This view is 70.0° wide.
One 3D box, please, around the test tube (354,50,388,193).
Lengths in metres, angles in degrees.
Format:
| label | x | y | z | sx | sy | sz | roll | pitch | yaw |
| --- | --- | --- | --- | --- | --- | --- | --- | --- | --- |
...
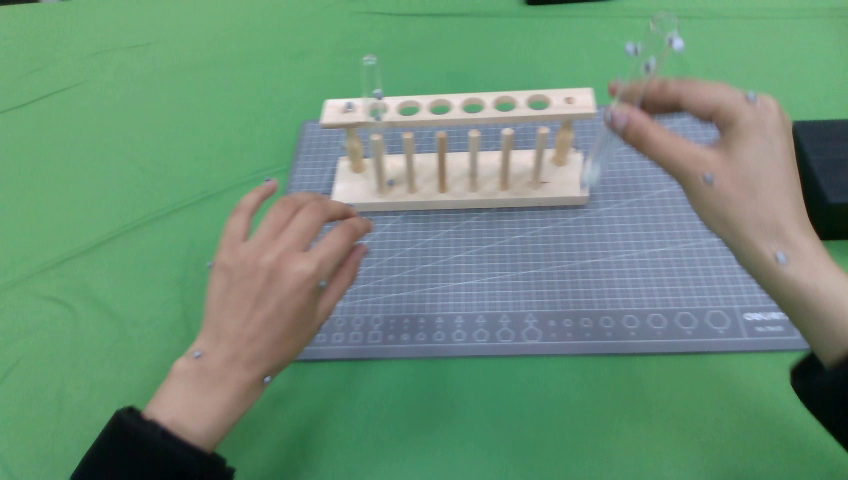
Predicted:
| label | x | y | z | sx | sy | sz | roll | pitch | yaw |
| --- | --- | --- | --- | --- | --- | --- | --- | --- | --- |
| test tube | -0.045 | -0.097 | 0.523 | 0.017 | 0.152 | 0.017 | -1 | 51 | 1 |

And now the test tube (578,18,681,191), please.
| label | x | y | z | sx | sy | sz | roll | pitch | yaw |
| --- | --- | --- | --- | --- | --- | --- | --- | --- | --- |
| test tube | 0.122 | -0.075 | 0.377 | 0.017 | 0.151 | 0.017 | 1 | 62 | -2 |

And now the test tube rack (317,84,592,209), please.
| label | x | y | z | sx | sy | sz | roll | pitch | yaw |
| --- | --- | --- | --- | --- | --- | --- | --- | --- | --- |
| test tube rack | 0.028 | -0.085 | 0.564 | 0.242 | 0.086 | 0.066 | -2 | 51 | 5 |
